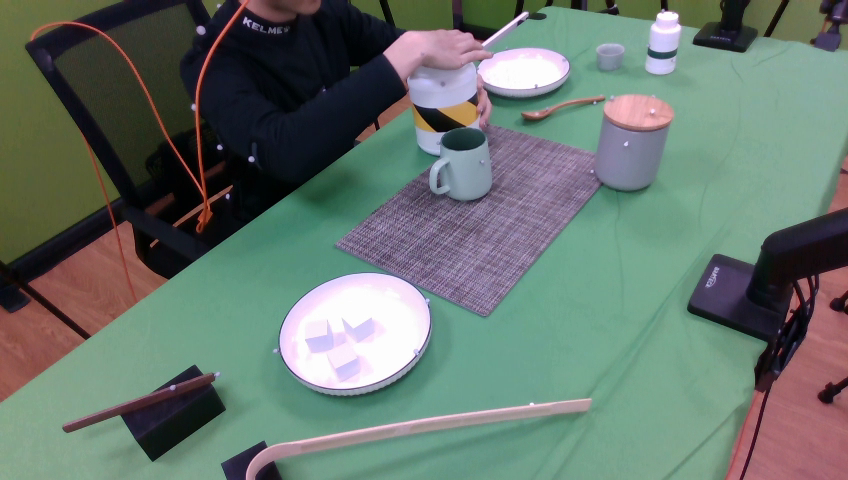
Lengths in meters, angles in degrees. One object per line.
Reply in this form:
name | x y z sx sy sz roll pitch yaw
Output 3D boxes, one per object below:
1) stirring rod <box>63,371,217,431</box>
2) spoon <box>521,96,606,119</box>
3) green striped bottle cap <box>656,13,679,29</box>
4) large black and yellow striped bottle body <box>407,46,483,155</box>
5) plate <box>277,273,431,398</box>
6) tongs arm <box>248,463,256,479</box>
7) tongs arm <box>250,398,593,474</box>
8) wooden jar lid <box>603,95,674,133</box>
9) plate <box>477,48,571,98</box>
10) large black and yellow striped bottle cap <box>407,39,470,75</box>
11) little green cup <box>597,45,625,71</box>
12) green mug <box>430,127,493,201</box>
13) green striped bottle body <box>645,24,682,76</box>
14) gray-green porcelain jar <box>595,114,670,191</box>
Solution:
stirring rod | -0.337 0.192 0.723 0.177 0.014 0.005 -18 42 -12
spoon | 0.291 -0.277 1.249 0.194 0.022 0.041 -17 27 -11
green striped bottle cap | 0.515 -0.463 1.278 0.044 0.020 0.044 -6 42 5
large black and yellow striped bottle body | 0.040 -0.269 1.149 0.130 0.185 0.130 -7 39 6
plate | -0.091 0.129 0.821 0.207 0.039 0.206 -4 40 4
tongs arm | 0.012 0.262 0.614 0.385 0.026 0.050 3 42 -2
tongs arm | 0.008 0.212 0.674 0.389 0.028 0.028 -5 46 -11
wooden jar lid | 0.343 -0.200 0.973 0.108 0.021 0.108 -1 39 2
plate | 0.223 -0.371 1.357 0.209 0.038 0.208 -4 41 4
large black and yellow striped bottle cap | 0.027 -0.334 1.098 0.115 0.019 0.114 -6 41 5
little green cup | 0.423 -0.413 1.375 0.061 0.039 0.061 -3 42 3
green mug | 0.059 -0.121 1.034 0.126 0.105 0.091 -35 48 -28
green striped bottle body | 0.520 -0.424 1.312 0.063 0.120 0.063 -4 41 4
gray-green porcelain jar | 0.346 -0.154 1.017 0.106 0.127 0.105 -2 43 2
